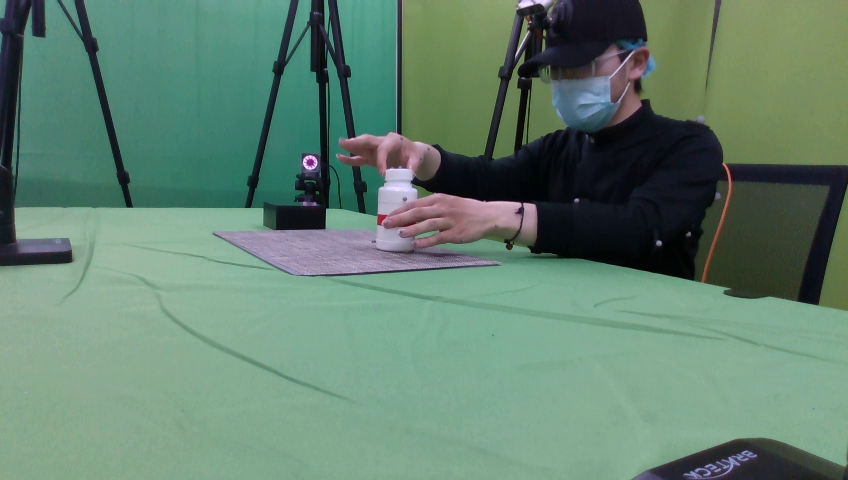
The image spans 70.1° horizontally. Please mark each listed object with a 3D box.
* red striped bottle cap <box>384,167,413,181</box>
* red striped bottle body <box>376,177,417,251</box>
[{"bbox_3d":[-0.040,-0.103,0.942,0.044,0.017,0.044,-6,-1,0],"label":"red striped bottle cap"},{"bbox_3d":[-0.043,-0.046,0.949,0.063,0.119,0.063,2,7,0],"label":"red striped bottle body"}]
